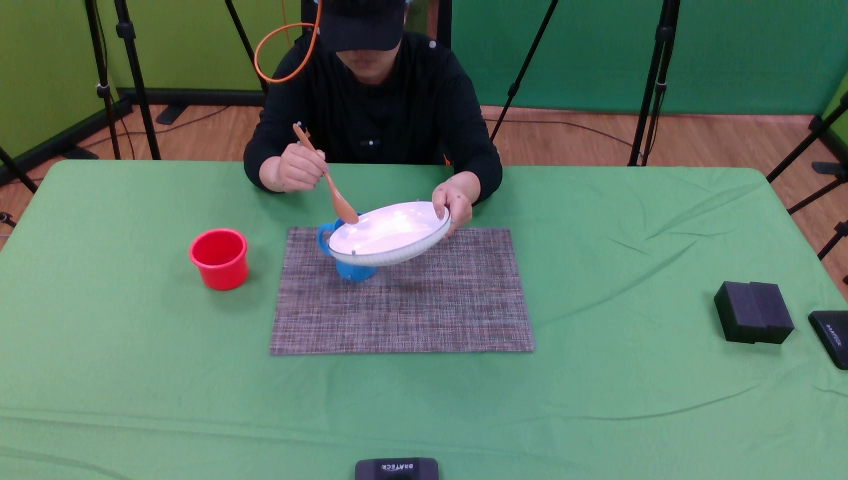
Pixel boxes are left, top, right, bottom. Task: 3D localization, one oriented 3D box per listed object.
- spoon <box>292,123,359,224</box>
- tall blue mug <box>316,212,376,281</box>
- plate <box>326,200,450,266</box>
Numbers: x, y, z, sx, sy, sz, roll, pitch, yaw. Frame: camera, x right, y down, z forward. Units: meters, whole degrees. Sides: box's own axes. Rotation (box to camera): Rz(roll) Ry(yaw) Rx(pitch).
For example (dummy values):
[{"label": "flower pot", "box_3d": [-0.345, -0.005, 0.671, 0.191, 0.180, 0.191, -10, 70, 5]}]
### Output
[{"label": "spoon", "box_3d": [-0.167, -0.108, 1.015, 0.041, 0.194, 0.021, -18, 15, 43]}, {"label": "tall blue mug", "box_3d": [-0.142, 0.014, 1.109, 0.107, 0.108, 0.077, -5, 47, -8]}, {"label": "plate", "box_3d": [-0.056, -0.009, 0.995, 0.207, 0.039, 0.206, -12, 23, 5]}]
